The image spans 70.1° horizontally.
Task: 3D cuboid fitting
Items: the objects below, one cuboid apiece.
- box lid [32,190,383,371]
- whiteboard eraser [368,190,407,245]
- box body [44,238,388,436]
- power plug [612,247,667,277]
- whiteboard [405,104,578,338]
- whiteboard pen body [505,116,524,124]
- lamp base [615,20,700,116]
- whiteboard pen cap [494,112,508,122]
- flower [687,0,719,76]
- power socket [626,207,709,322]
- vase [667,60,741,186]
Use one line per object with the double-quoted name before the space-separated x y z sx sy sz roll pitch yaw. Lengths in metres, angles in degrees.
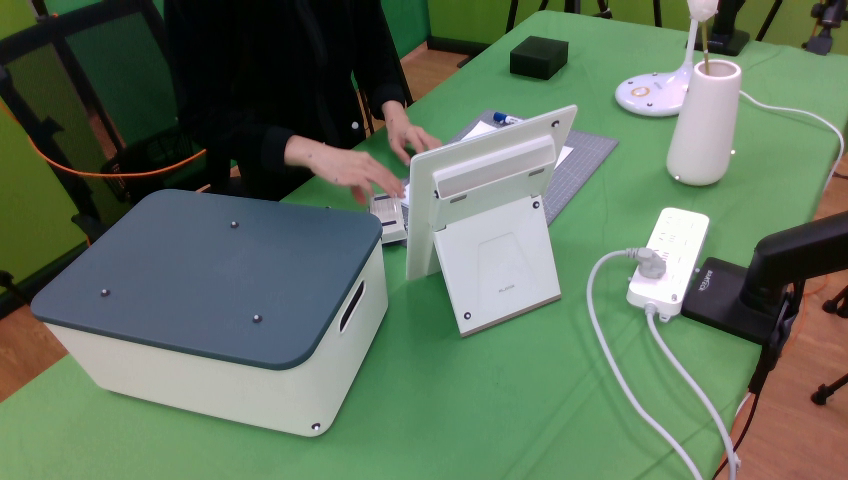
"box lid" -0.257 0.032 0.750 0.370 0.015 0.263 7 41 16
"whiteboard eraser" -0.061 -0.035 1.005 0.056 0.042 0.112 -9 40 -4
"box body" -0.251 0.088 0.799 0.362 0.161 0.254 7 42 16
"power plug" 0.306 0.031 0.852 0.072 0.053 0.035 21 48 37
"whiteboard" 0.102 0.003 0.787 0.218 0.306 0.143 -19 62 -14
"whiteboard pen body" 0.203 -0.232 1.213 0.139 0.017 0.017 28 51 36
"lamp base" 0.484 -0.364 1.211 0.180 0.181 0.159 -15 41 -14
"whiteboard pen cap" 0.161 -0.253 1.248 0.033 0.018 0.018 27 51 36
"flower" 0.436 -0.242 0.934 0.038 0.364 0.043 -25 49 7
"power socket" 0.360 0.026 0.886 0.072 0.033 0.227 17 46 27
"vase" 0.463 -0.189 0.994 0.098 0.201 0.097 -4 40 4
